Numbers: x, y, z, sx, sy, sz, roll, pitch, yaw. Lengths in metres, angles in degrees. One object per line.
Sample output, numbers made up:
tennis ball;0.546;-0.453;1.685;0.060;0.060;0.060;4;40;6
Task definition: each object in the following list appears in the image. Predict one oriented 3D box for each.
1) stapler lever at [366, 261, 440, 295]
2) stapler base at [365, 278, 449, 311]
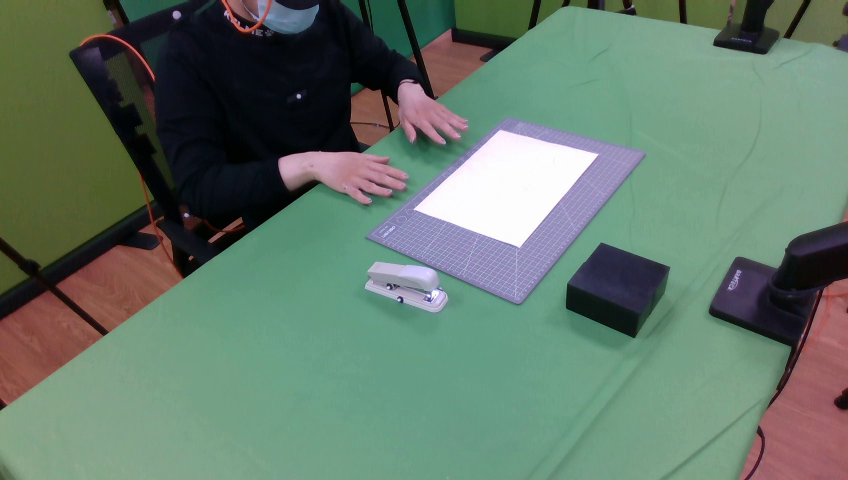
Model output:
stapler lever;-0.031;0.049;0.878;0.117;0.040;0.027;15;42;26
stapler base;-0.027;0.069;0.893;0.129;0.024;0.041;15;42;26
